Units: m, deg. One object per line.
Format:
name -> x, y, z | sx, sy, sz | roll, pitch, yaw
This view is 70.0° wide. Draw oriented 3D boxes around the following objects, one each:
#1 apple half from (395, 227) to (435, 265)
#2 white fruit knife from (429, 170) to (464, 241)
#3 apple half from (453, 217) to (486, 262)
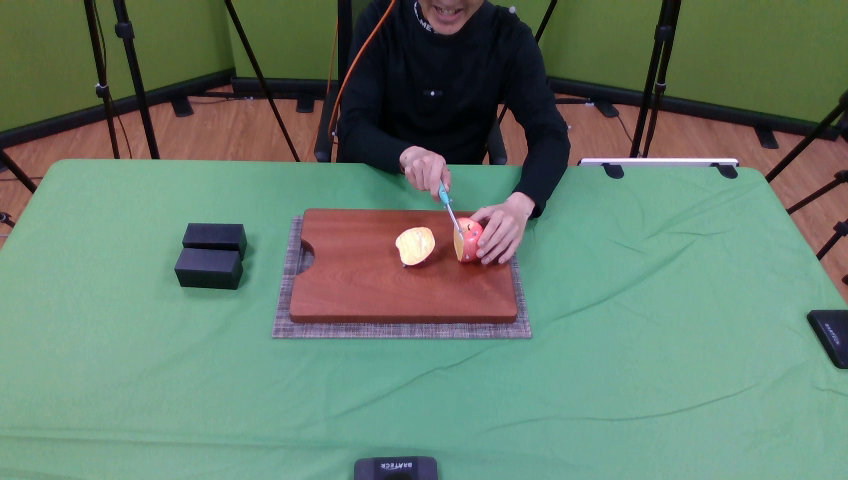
apple half -> -0.011, 0.015, 1.126 | 0.081, 0.033, 0.081 | -9, 57, 15
white fruit knife -> 0.043, -0.068, 1.120 | 0.016, 0.027, 0.206 | -18, 46, -4
apple half -> 0.087, 0.000, 1.126 | 0.053, 0.075, 0.080 | -3, 44, -13
